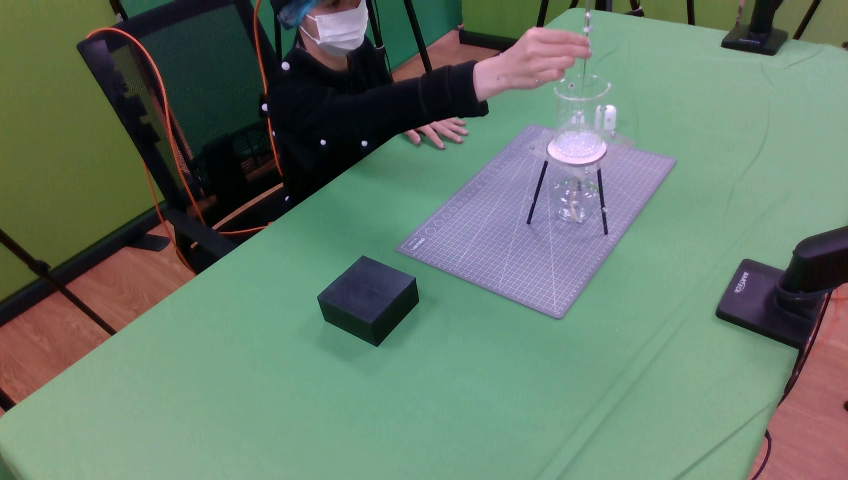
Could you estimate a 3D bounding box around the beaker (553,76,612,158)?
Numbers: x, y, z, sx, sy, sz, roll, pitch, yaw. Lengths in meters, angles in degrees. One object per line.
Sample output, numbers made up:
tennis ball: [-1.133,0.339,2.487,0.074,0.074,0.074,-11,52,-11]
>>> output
beaker: [0.230,-0.178,0.882,0.084,0.101,0.073,-9,41,1]

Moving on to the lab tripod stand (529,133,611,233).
lab tripod stand: [0.236,-0.089,0.953,0.148,0.132,0.147,-5,42,5]

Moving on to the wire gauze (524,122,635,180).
wire gauze: [0.233,-0.142,0.913,0.122,0.011,0.124,-31,43,-26]

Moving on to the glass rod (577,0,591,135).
glass rod: [0.216,-0.231,0.817,0.008,0.200,0.008,-4,38,4]

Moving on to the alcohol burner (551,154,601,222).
alcohol burner: [0.244,-0.088,0.966,0.078,0.119,0.077,-3,40,3]

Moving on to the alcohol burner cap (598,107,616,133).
alcohol burner cap: [0.361,-0.238,1.189,0.034,0.048,0.033,-4,40,4]
